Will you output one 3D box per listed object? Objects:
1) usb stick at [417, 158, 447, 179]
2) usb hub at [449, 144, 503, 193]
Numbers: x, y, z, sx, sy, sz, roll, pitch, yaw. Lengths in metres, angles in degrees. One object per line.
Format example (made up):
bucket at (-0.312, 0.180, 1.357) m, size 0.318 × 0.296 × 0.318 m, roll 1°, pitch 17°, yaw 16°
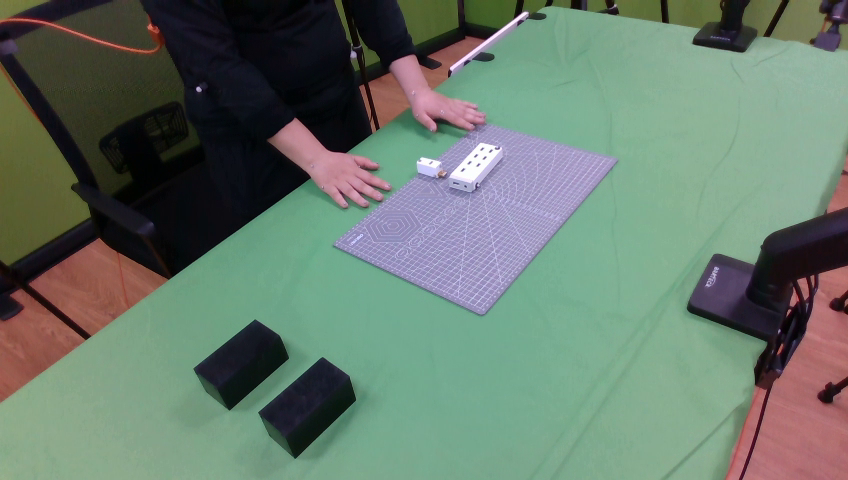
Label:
usb stick at (0.016, -0.130, 1.114) m, size 0.059 × 0.027 × 0.021 m, roll 22°, pitch 45°, yaw 25°
usb hub at (0.096, -0.132, 1.105) m, size 0.049 × 0.025 × 0.125 m, roll 18°, pitch 47°, yaw 27°
